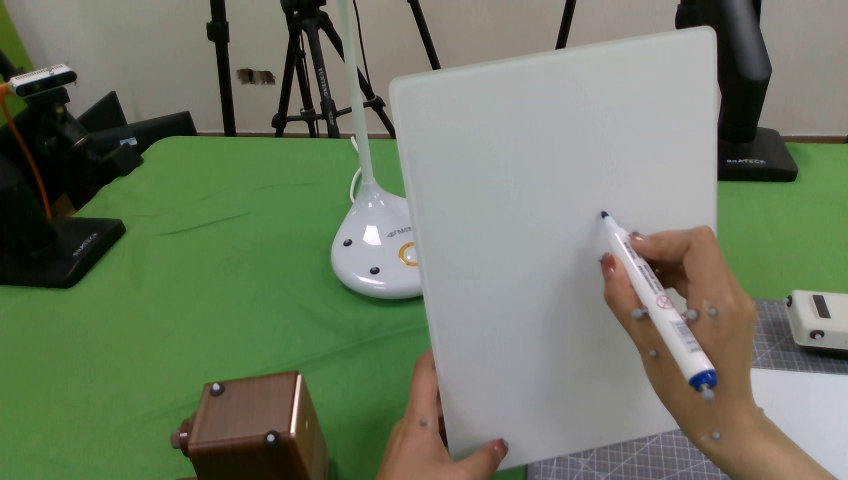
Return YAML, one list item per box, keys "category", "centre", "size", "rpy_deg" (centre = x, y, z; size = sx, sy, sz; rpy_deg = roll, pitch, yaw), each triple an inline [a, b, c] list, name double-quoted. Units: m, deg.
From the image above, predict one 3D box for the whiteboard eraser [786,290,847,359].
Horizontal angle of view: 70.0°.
- category: "whiteboard eraser"
  centre: [0.379, 0.076, 0.521]
  size: [0.112, 0.042, 0.055]
  rpy_deg: [5, 40, 15]

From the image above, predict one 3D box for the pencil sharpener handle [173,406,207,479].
- category: "pencil sharpener handle"
  centre: [-0.169, 0.151, 0.432]
  size: [0.030, 0.068, 0.035]
  rpy_deg: [-7, 25, 0]

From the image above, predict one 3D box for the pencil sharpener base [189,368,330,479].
- category: "pencil sharpener base"
  centre: [-0.117, 0.153, 0.443]
  size: [0.077, 0.108, 0.060]
  rpy_deg: [-7, 38, 0]

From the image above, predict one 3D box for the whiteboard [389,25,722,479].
- category: "whiteboard"
  centre: [0.099, 0.005, 0.490]
  size: [0.217, 0.307, 0.143]
  rpy_deg: [-10, 18, -4]

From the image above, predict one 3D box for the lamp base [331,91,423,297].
- category: "lamp base"
  centre: [-0.040, -0.058, 0.647]
  size: [0.161, 0.182, 0.177]
  rpy_deg: [-28, 40, -26]

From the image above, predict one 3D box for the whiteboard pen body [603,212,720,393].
- category: "whiteboard pen body"
  centre: [0.138, 0.030, 0.368]
  size: [0.017, 0.017, 0.139]
  rpy_deg: [-11, 47, -5]
